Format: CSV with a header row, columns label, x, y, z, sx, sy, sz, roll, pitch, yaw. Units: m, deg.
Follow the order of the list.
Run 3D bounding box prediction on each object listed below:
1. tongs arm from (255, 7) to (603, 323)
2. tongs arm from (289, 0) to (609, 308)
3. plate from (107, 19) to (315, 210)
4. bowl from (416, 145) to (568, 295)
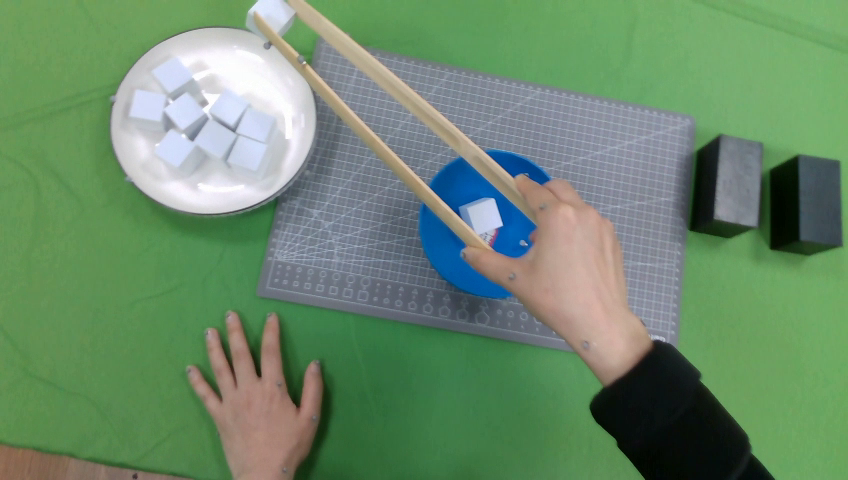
label,x,y,z,sx,sy,sz,roll,pitch,yaw
tongs arm,-0.009,-0.074,0.497,0.051,0.027,0.382,-35,73,-21
tongs arm,0.008,-0.088,0.506,0.028,0.028,0.385,-39,74,-25
plate,-0.218,-0.129,0.637,0.208,0.039,0.206,1,78,-5
bowl,0.063,-0.013,0.621,0.151,0.077,0.150,1,78,-6
